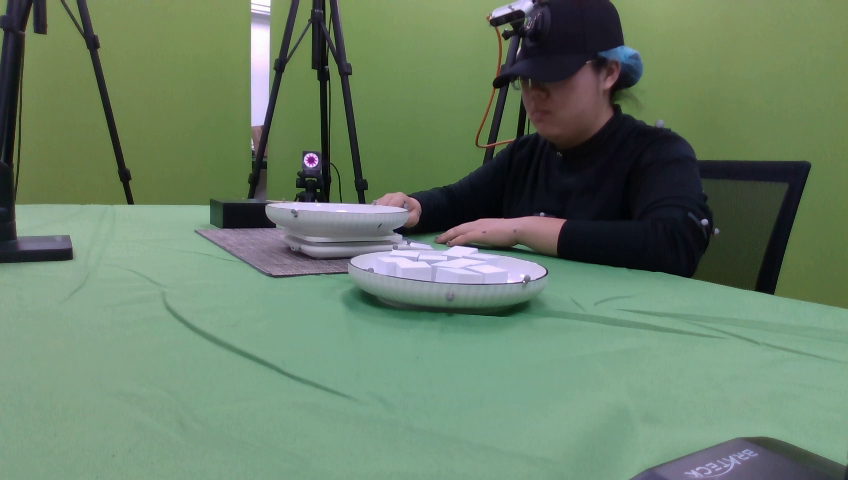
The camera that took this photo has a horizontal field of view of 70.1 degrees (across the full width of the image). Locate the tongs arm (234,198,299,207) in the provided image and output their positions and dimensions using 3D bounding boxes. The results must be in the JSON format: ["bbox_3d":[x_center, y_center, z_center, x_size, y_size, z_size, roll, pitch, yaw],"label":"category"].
[{"bbox_3d":[-0.263,-0.076,1.459,0.386,0.026,0.050,3,8,-8],"label":"tongs arm"}]

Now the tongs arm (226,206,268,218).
[{"bbox_3d":[-0.247,-0.061,1.381,0.389,0.028,0.028,0,5,-21],"label":"tongs arm"}]

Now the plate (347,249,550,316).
[{"bbox_3d":[0.025,0.042,0.627,0.209,0.038,0.209,2,7,0],"label":"plate"}]

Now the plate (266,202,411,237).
[{"bbox_3d":[-0.123,-0.030,0.879,0.208,0.039,0.207,2,6,0],"label":"plate"}]

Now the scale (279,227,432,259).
[{"bbox_3d":[-0.100,0.002,0.899,0.202,0.031,0.148,-1,8,-31],"label":"scale"}]
